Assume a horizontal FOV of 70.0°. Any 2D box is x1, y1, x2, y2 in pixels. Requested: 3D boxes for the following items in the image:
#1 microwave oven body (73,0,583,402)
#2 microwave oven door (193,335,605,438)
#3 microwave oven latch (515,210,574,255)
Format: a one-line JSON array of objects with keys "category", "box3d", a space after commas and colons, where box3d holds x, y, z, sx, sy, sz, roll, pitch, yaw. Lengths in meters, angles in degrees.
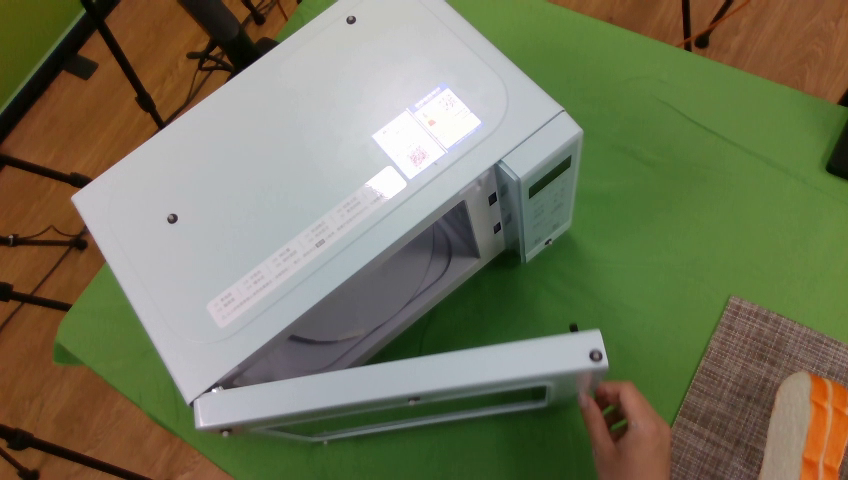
[{"category": "microwave oven body", "box3d": [-0.094, -0.045, 0.710, 0.441, 0.262, 0.323, -39, 68, -5]}, {"category": "microwave oven door", "box3d": [-0.009, 0.154, 0.613, 0.355, 0.246, 0.039, -10, 69, 6]}, {"category": "microwave oven latch", "box3d": [0.151, -0.017, 0.760, 0.079, 0.030, 0.030, -37, 68, -4]}]
